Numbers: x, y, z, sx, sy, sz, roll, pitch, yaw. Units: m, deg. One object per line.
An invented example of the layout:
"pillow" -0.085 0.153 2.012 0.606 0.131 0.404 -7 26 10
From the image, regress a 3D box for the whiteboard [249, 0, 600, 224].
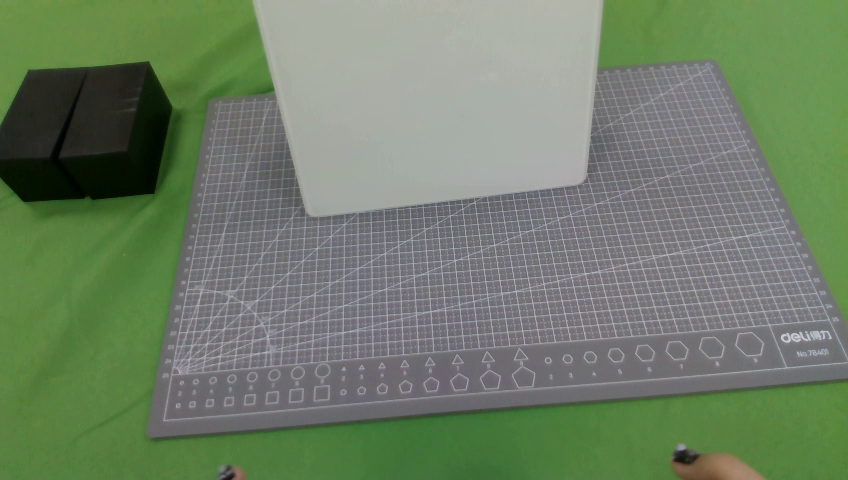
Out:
"whiteboard" -0.001 -0.187 0.423 0.217 0.308 0.142 -6 37 -1
